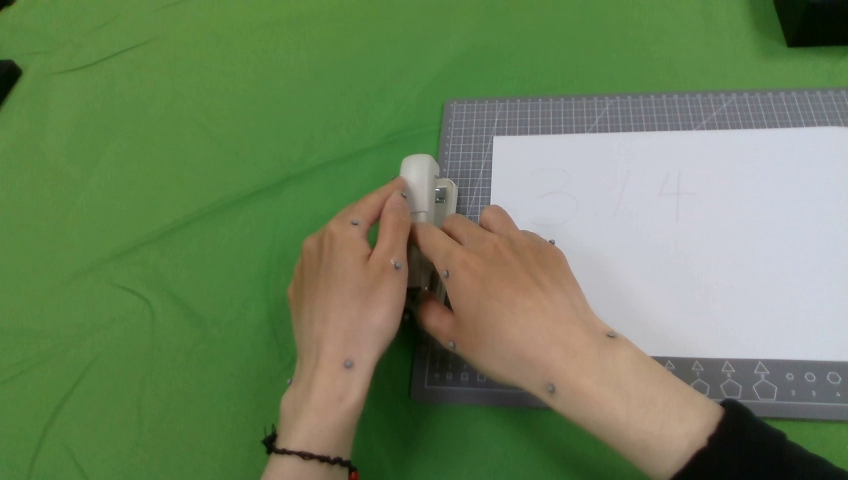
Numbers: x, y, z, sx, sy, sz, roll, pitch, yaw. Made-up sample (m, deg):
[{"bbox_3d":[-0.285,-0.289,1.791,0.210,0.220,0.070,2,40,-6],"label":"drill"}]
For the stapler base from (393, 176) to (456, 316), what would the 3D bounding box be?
[{"bbox_3d":[-0.001,-0.003,0.486,0.041,0.025,0.129,-5,58,19],"label":"stapler base"}]

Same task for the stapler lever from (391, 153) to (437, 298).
[{"bbox_3d":[-0.008,-0.015,0.465,0.027,0.040,0.117,-5,58,19],"label":"stapler lever"}]
